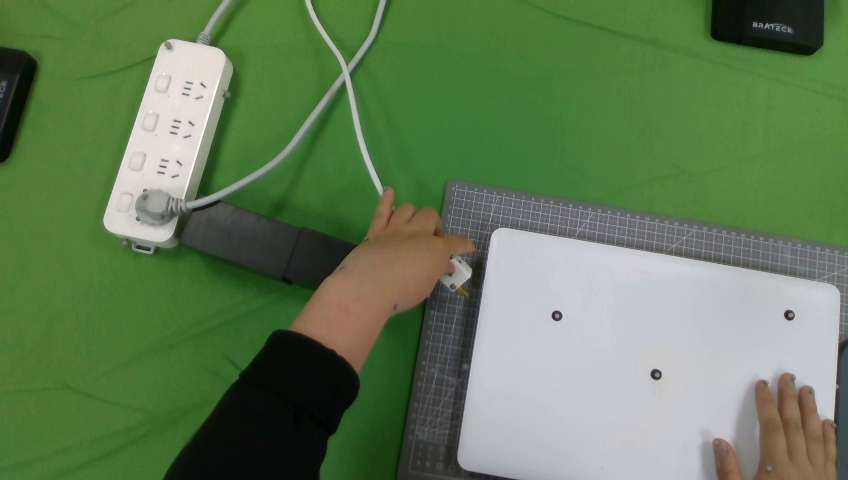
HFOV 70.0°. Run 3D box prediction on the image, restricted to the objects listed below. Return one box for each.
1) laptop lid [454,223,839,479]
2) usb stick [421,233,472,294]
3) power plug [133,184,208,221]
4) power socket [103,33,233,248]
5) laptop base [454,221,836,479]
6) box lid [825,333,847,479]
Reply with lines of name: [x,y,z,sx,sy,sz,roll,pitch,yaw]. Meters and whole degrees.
laptop lid: [0.218,0.124,0.581,0.357,0.013,0.241,11,82,0]
usb stick: [0.026,0.024,0.571,0.027,0.021,0.059,-39,98,14]
power plug: [-0.240,-0.029,0.575,0.072,0.053,0.035,26,77,1]
power socket: [-0.254,-0.104,0.609,0.072,0.033,0.226,13,79,0]
laptop base: [0.219,0.124,0.592,0.354,0.023,0.235,10,83,-1]
box lid: [0.510,0.284,0.578,0.263,0.015,0.370,10,79,-1]
